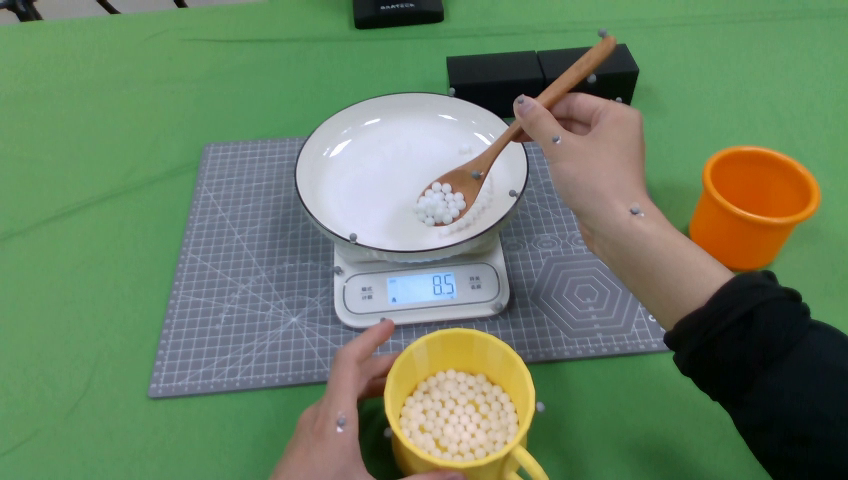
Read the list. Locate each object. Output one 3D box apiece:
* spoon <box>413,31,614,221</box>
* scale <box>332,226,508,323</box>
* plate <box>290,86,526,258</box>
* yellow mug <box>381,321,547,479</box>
[{"bbox_3d":[0.065,-0.083,0.455,0.194,0.022,0.041,-43,62,18],"label":"spoon"},{"bbox_3d":[-0.010,-0.020,0.554,0.149,0.032,0.199,-5,51,-2],"label":"scale"},{"bbox_3d":[-0.014,-0.062,0.547,0.209,0.038,0.207,0,51,1],"label":"plate"},{"bbox_3d":[0.033,0.124,0.417,0.100,0.064,0.129,-39,60,-25],"label":"yellow mug"}]
